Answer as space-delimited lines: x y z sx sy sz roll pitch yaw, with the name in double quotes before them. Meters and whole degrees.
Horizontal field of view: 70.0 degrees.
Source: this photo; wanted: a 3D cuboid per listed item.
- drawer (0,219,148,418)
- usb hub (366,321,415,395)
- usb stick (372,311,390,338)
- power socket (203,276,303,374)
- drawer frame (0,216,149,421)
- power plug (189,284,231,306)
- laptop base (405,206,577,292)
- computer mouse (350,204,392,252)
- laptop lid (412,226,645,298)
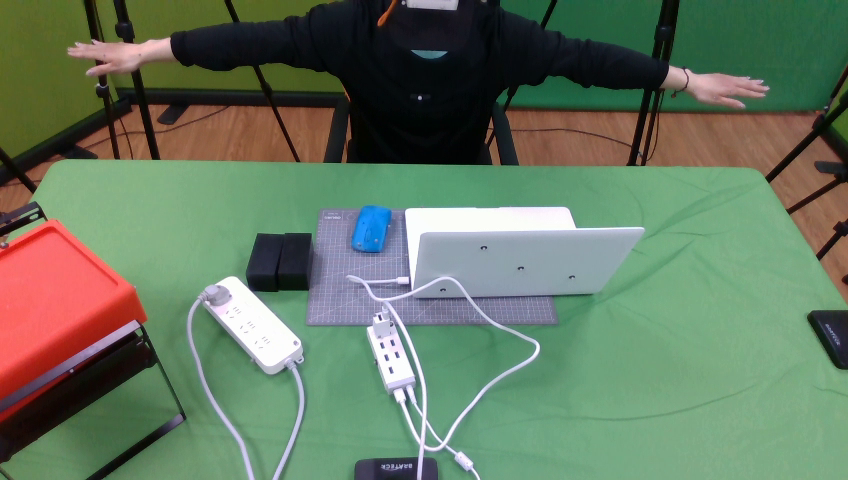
"drawer" -0.509 0.093 0.783 0.193 0.073 0.211 32 53 24
"usb hub" -0.056 0.194 1.007 0.049 0.025 0.124 -12 49 -15
"usb stick" -0.073 0.145 1.012 0.027 0.059 0.021 -13 50 -18
"power socket" -0.296 0.141 1.034 0.072 0.033 0.225 -35 58 -30
"drawer frame" -0.510 0.093 0.780 0.201 0.083 0.213 31 52 23
"power plug" -0.367 0.100 1.037 0.072 0.053 0.035 -24 53 -26
"laptop base" 0.143 0.018 1.196 0.355 0.023 0.234 -1 43 -6
"computer mouse" -0.104 -0.027 1.202 0.063 0.041 0.116 11 51 4
"laptop lid" 0.161 0.042 1.012 0.357 0.242 0.013 0 59 -7
